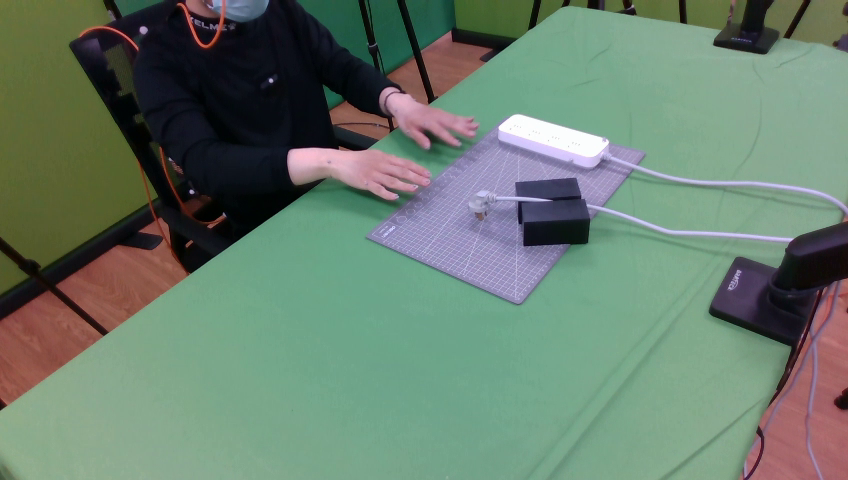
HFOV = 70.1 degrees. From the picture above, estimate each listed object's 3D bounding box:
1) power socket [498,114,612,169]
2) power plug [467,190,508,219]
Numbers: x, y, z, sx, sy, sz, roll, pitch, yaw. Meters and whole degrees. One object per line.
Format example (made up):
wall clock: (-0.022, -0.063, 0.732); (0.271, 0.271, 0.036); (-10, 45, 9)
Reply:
power socket: (0.240, -0.189, 1.141); (0.225, 0.033, 0.072); (25, 50, 32)
power plug: (0.101, -0.052, 0.983); (0.035, 0.053, 0.072); (-28, 39, -26)
